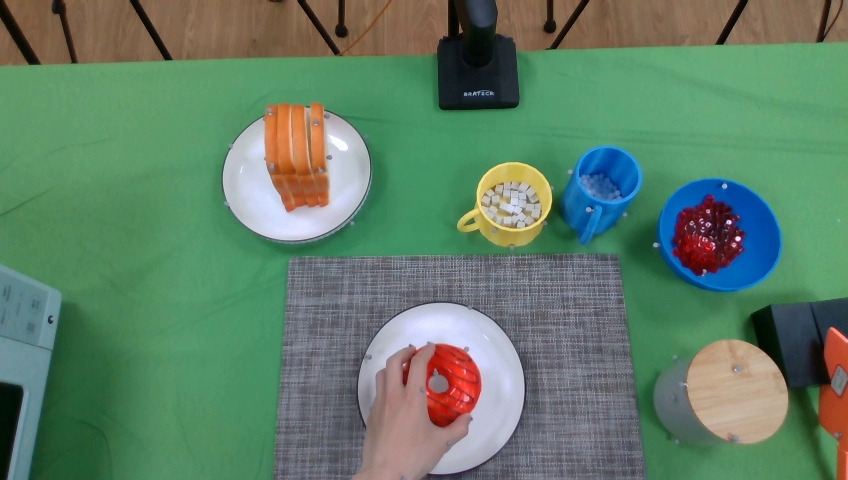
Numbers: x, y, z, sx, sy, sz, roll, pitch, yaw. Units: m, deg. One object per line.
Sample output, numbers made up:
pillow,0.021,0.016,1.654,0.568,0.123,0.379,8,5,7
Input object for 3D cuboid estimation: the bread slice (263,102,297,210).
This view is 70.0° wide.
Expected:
bread slice,-0.189,-0.118,0.803,0.018,0.135,0.106,-4,67,-2

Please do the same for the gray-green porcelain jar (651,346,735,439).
gray-green porcelain jar,0.330,0.176,0.703,0.106,0.127,0.105,0,71,1

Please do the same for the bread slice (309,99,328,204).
bread slice,-0.139,-0.120,0.803,0.019,0.132,0.104,-3,73,-8

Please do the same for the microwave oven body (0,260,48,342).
microwave oven body,-0.640,0.230,0.630,0.326,0.261,0.439,-1,72,1

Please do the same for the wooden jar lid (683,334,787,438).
wooden jar lid,0.327,0.155,0.644,0.108,0.021,0.107,0,72,-1

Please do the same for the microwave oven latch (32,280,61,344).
microwave oven latch,-0.491,0.092,0.776,0.030,0.029,0.078,2,72,2

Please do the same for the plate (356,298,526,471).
plate,0.021,0.177,0.753,0.209,0.038,0.207,0,71,1

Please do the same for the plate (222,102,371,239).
plate,-0.177,-0.096,0.853,0.208,0.039,0.206,0,72,1

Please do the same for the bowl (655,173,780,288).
bowl,0.368,-0.003,0.789,0.151,0.077,0.150,0,71,2

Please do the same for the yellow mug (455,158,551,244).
yellow mug,0.103,-0.045,0.815,0.131,0.064,0.099,-23,71,-5

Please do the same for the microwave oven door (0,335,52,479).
microwave oven door,-0.494,0.266,0.610,0.039,0.245,0.353,-1,71,1

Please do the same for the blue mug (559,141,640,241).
blue mug,0.223,-0.054,0.795,0.082,0.106,0.116,17,72,8

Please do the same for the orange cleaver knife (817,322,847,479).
orange cleaver knife,0.488,0.204,0.714,0.012,0.077,0.212,-5,101,1

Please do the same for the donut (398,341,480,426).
donut,0.018,0.167,0.711,0.099,0.048,0.098,-2,69,5
